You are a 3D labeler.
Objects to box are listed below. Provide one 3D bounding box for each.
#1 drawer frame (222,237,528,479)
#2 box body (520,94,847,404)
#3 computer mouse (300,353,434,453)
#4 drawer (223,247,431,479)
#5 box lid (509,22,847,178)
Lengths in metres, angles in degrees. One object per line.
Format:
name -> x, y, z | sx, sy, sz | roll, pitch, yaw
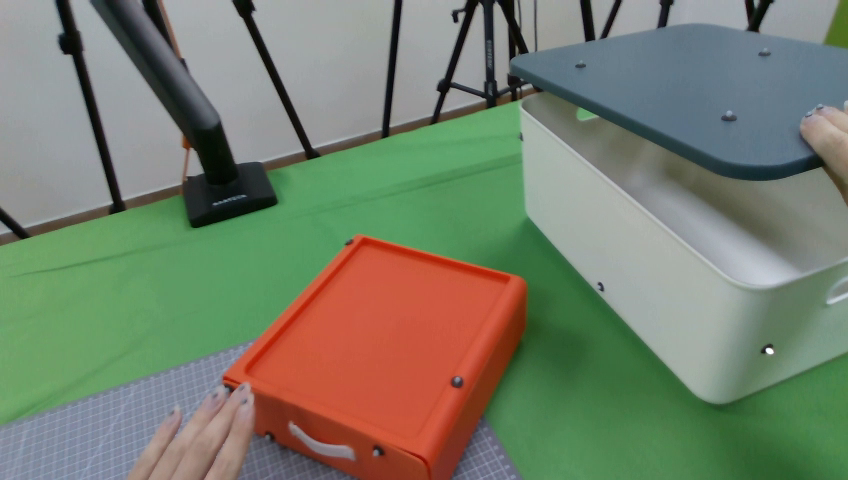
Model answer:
drawer frame -> -0.035, 0.105, 0.562 | 0.200, 0.083, 0.213 | 14, 41, 24
box body -> 0.288, -0.033, 0.632 | 0.254, 0.162, 0.359 | -17, 39, -14
computer mouse -> -0.051, 0.141, 0.542 | 0.116, 0.041, 0.062 | 19, 41, 20
drawer -> -0.036, 0.109, 0.560 | 0.193, 0.074, 0.211 | 13, 41, 25
box lid -> 0.265, -0.147, 0.553 | 0.264, 0.015, 0.367 | -16, 30, -13
